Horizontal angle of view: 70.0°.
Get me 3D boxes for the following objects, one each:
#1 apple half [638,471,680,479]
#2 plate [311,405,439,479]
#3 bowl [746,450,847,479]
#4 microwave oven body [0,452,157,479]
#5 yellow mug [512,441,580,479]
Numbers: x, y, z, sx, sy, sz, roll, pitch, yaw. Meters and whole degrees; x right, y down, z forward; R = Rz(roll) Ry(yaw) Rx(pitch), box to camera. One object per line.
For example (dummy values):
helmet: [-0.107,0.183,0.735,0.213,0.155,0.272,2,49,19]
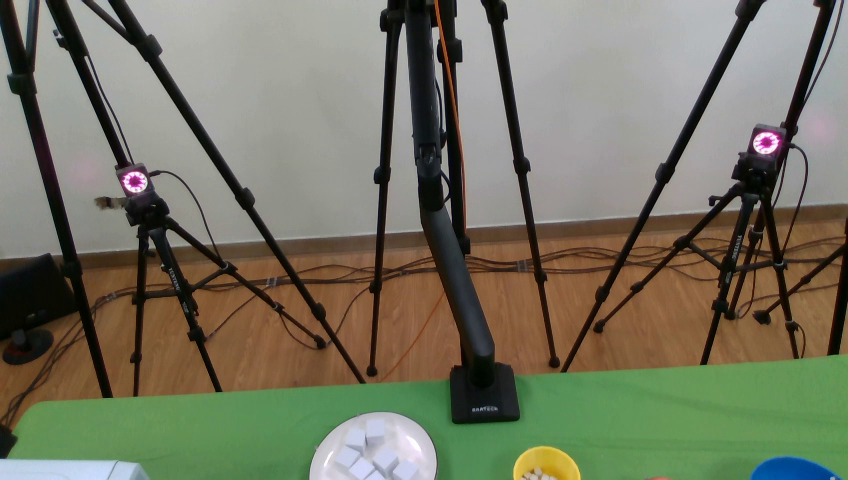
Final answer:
apple half: [0.358,0.377,0.897,0.080,0.075,0.053,24,45,36]
plate: [-0.078,0.366,0.987,0.207,0.039,0.205,-3,39,3]
bowl: [0.530,0.387,0.861,0.151,0.077,0.150,-3,39,3]
microwave oven body: [-0.519,0.501,0.687,0.326,0.262,0.437,-1,40,5]
yellow mug: [0.193,0.378,0.920,0.100,0.064,0.129,-22,43,-20]
